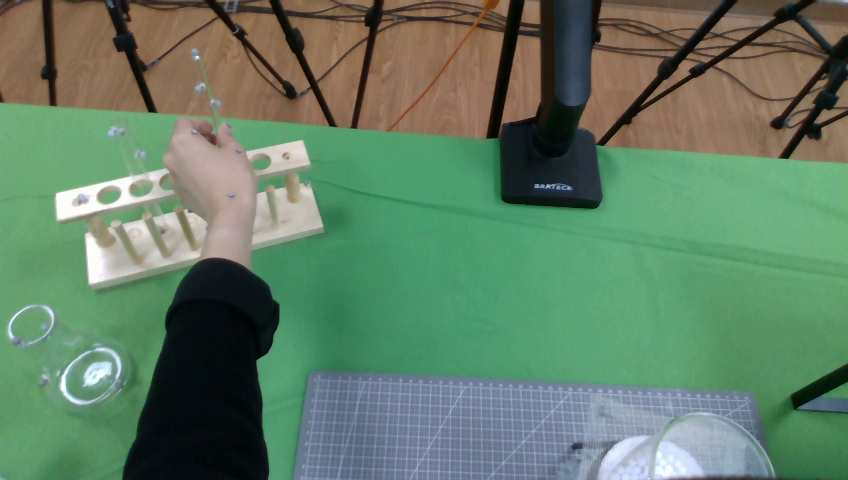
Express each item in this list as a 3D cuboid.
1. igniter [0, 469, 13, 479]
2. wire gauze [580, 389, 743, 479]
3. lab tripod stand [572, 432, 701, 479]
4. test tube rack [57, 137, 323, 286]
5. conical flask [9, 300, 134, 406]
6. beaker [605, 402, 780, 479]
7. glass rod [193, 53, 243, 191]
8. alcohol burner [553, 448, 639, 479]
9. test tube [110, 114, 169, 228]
[{"bbox_3d":[-0.413,0.279,0.418,0.057,0.025,0.275,27,60,22],"label":"igniter"},{"bbox_3d":[0.171,0.179,0.434,0.121,0.011,0.124,16,58,3],"label":"wire gauze"},{"bbox_3d":[0.160,0.216,0.488,0.148,0.132,0.147,3,58,-4],"label":"lab tripod stand"},{"bbox_3d":[-0.235,-0.031,0.637,0.243,0.086,0.066,-15,61,-13],"label":"test tube rack"},{"bbox_3d":[-0.315,0.095,0.535,0.075,0.123,0.074,2,59,-3],"label":"conical flask"},{"bbox_3d":[0.162,0.157,0.390,0.084,0.101,0.073,-17,62,-14],"label":"beaker"},{"bbox_3d":[-0.199,-0.097,0.601,0.008,0.201,0.008,0,51,0],"label":"glass rod"},{"bbox_3d":[0.149,0.209,0.504,0.078,0.120,0.077,3,58,-4],"label":"alcohol burner"},{"bbox_3d":[-0.276,-0.062,0.594,0.017,0.151,0.017,3,53,-4],"label":"test tube"}]
